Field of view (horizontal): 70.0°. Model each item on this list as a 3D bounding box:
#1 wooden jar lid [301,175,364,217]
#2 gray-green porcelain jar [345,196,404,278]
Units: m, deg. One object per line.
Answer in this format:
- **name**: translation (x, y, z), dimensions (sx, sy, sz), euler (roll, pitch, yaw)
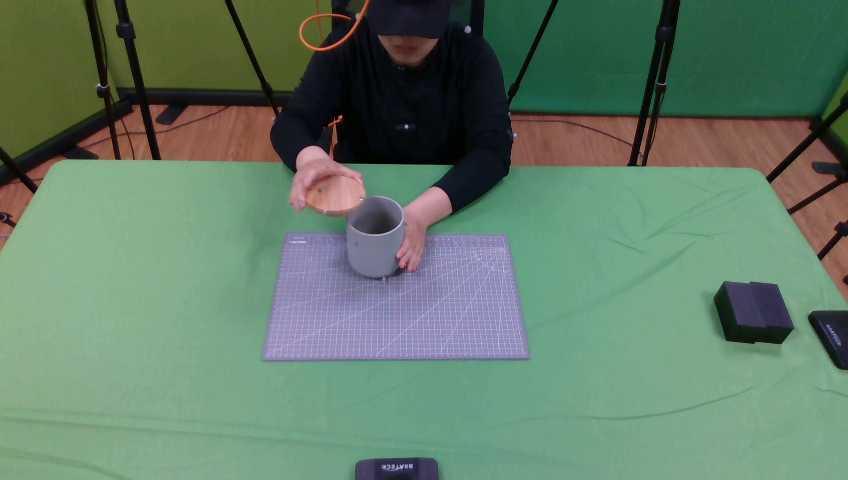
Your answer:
- **wooden jar lid**: translation (-0.158, -0.075, 1.050), dimensions (0.108, 0.021, 0.107), euler (5, 40, -4)
- **gray-green porcelain jar**: translation (-0.091, -0.001, 1.117), dimensions (0.106, 0.127, 0.105), euler (2, 46, -2)
